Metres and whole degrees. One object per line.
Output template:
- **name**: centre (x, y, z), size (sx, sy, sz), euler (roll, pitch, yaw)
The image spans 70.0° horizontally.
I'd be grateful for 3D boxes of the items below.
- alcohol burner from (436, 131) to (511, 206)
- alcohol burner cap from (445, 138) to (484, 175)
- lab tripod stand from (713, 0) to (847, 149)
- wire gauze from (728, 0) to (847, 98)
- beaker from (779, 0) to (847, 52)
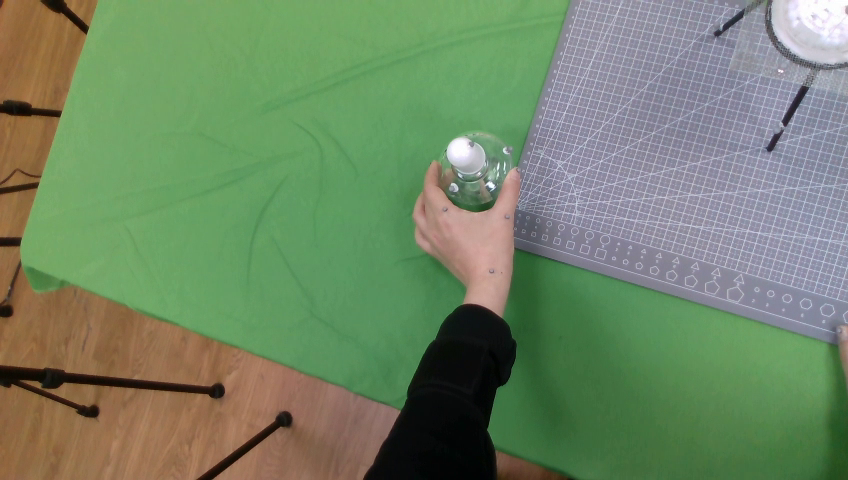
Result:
- **alcohol burner**: centre (0.046, -0.075, 0.601), size (0.078, 0.120, 0.077), euler (-2, 82, 14)
- **alcohol burner cap**: centre (0.036, -0.080, 0.566), size (0.034, 0.048, 0.034), euler (-1, 87, 17)
- **lab tripod stand**: centre (0.325, -0.166, 0.523), size (0.148, 0.132, 0.148), euler (-1, 86, 14)
- **wire gauze**: centre (0.309, -0.173, 0.460), size (0.124, 0.011, 0.121), euler (17, 92, 13)
- **beaker**: centre (0.292, -0.180, 0.415), size (0.083, 0.101, 0.074), euler (31, 93, 16)
